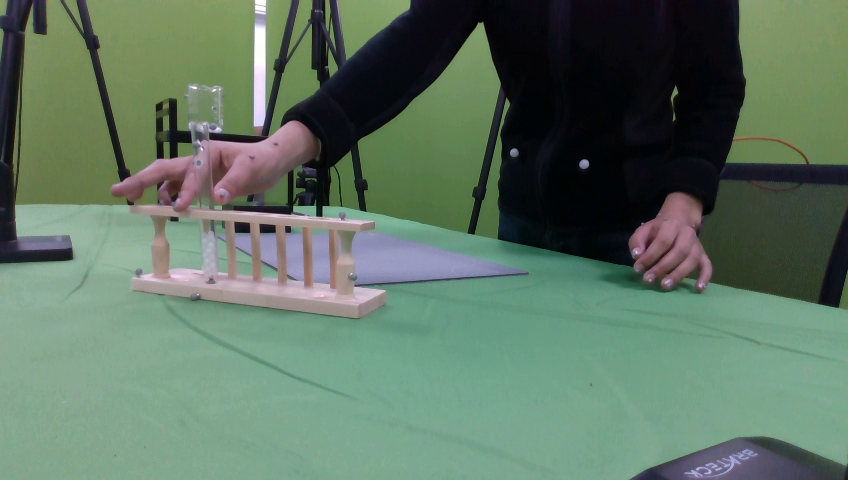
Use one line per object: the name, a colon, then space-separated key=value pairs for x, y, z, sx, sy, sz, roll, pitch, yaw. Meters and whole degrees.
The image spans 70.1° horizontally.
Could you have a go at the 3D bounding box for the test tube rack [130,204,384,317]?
test tube rack: x=-0.162 y=0.013 z=0.589 sx=0.242 sy=0.085 sz=0.067 roll=5 pitch=8 yaw=17

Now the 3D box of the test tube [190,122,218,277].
test tube: x=-0.209 y=-0.036 z=0.576 sx=0.017 sy=0.150 sz=0.017 roll=1 pitch=14 yaw=0

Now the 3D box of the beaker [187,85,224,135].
beaker: x=-0.466 y=-0.276 z=1.296 sx=0.074 sy=0.100 sz=0.083 roll=-3 pitch=10 yaw=-35
